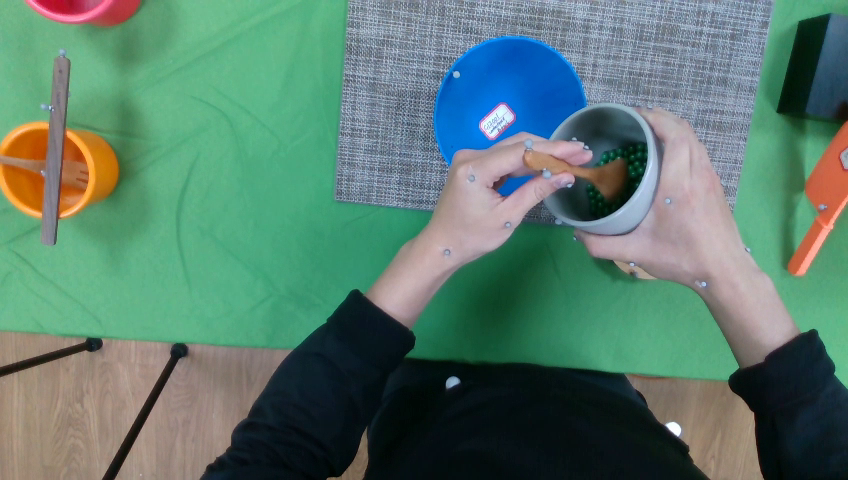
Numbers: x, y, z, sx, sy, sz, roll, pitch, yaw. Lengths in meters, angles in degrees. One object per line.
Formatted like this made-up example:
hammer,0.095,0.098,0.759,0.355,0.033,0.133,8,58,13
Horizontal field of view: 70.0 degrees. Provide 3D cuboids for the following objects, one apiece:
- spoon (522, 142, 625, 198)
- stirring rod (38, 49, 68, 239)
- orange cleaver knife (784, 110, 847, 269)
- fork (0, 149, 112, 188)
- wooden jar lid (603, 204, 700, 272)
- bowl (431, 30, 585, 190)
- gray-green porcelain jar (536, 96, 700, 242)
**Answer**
spoon,0.124,-0.059,0.488,0.195,0.021,0.042,1,107,-50
stirring rod,-0.343,-0.086,0.559,0.014,0.006,0.176,10,101,-9
orange cleaver knife,0.440,-0.061,0.658,0.012,0.076,0.213,1,131,-7
fork,-0.395,-0.083,0.557,0.209,0.018,0.028,16,114,-51
wooden jar lid,0.253,-0.017,0.681,0.108,0.020,0.109,-1,108,-2
bowl,0.079,-0.129,0.615,0.151,0.076,0.152,-1,102,-4
gray-green porcelain jar,0.178,-0.056,0.542,0.127,0.105,0.106,15,103,-45
